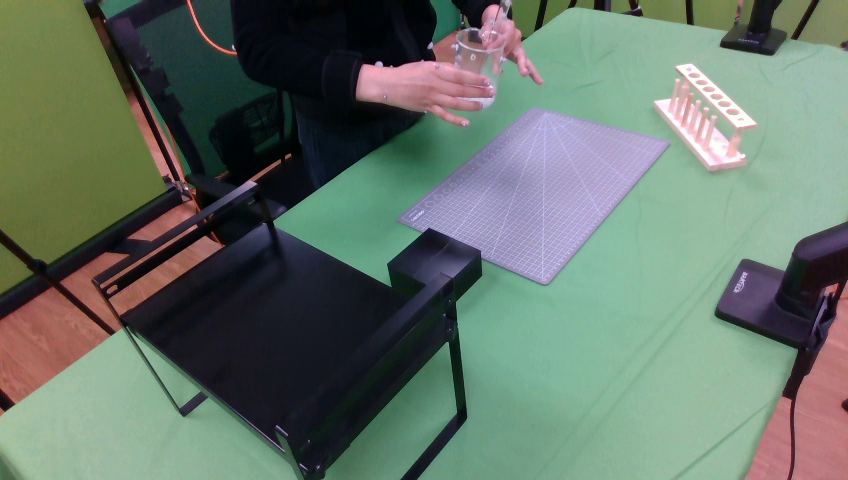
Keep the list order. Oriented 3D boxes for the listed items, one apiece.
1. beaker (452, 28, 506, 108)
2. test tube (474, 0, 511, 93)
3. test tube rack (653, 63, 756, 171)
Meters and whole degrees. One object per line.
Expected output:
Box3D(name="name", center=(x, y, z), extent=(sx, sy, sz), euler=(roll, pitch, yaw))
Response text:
Box3D(name="beaker", center=(0.081, -0.262, 0.922), extent=(0.074, 0.100, 0.083), euler=(7, 44, 1))
Box3D(name="test tube", center=(0.106, -0.301, 0.950), extent=(0.017, 0.150, 0.017), euler=(12, 35, -8))
Box3D(name="test tube rack", center=(0.510, -0.233, 1.120), extent=(0.067, 0.085, 0.241), euler=(-9, 41, -1))
